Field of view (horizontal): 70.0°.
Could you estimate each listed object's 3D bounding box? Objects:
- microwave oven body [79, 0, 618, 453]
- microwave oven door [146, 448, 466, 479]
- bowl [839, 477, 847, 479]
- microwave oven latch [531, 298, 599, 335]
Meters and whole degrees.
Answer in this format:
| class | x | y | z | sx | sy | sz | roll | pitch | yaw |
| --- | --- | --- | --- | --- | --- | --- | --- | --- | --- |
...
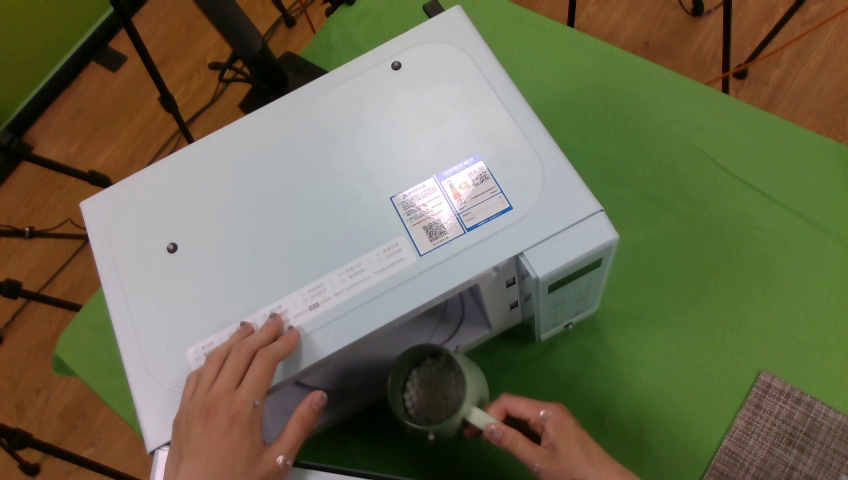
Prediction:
| class | x | y | z | sx | sy | sz | roll | pitch | yaw |
| --- | --- | --- | --- | --- | --- | --- | --- | --- | --- |
| microwave oven body | -0.075 | 0.010 | 0.672 | 0.442 | 0.262 | 0.323 | -29 | 67 | -1 |
| microwave oven door | -0.035 | 0.236 | 0.569 | 0.355 | 0.246 | 0.039 | 4 | 70 | 12 |
| bowl | 0.417 | 0.299 | 0.565 | 0.151 | 0.077 | 0.150 | -4 | 68 | 9 |
| microwave oven latch | 0.164 | 0.080 | 0.706 | 0.079 | 0.030 | 0.030 | -27 | 67 | 0 |
